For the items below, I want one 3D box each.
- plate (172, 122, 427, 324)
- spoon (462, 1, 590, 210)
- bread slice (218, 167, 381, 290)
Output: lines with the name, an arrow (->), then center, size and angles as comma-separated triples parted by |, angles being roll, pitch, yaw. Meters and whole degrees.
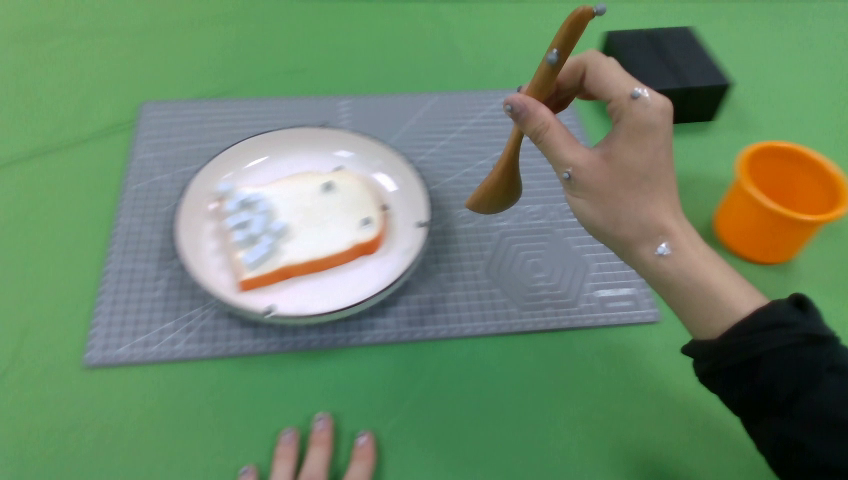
plate -> -0.101, -0.017, 0.513 | 0.209, 0.038, 0.207 | 2, 54, -3
spoon -> 0.059, -0.070, 0.377 | 0.042, 0.195, 0.021 | -4, 59, -12
bread slice -> -0.104, -0.020, 0.518 | 0.132, 0.019, 0.104 | -16, 56, -15
